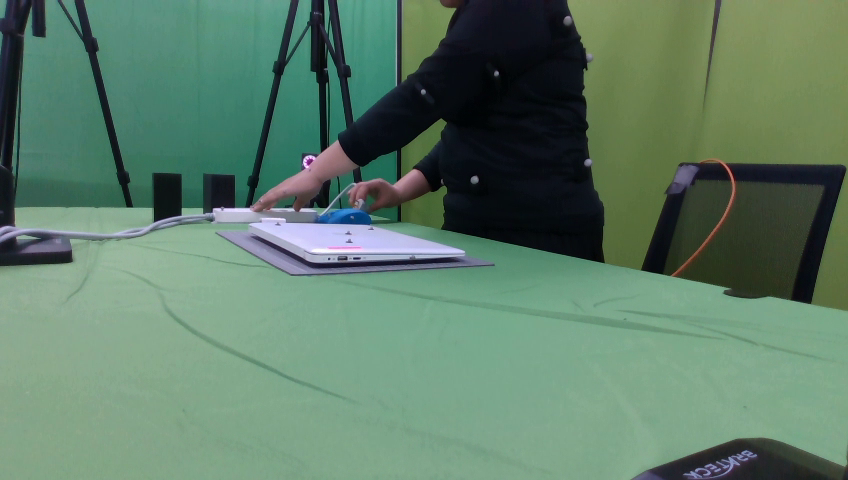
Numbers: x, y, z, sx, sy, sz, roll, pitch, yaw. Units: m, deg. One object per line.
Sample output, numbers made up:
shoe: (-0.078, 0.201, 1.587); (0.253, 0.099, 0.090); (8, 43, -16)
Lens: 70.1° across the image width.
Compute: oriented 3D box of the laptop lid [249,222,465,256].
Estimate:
laptop lid: (-0.121, -0.005, 0.955); (0.243, 0.013, 0.355); (1, 7, -28)

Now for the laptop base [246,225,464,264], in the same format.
laptop base: (-0.124, 0.006, 0.955); (0.237, 0.023, 0.352); (2, 6, -30)

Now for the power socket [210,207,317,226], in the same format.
power socket: (-0.335, -0.051, 1.282); (0.228, 0.032, 0.072); (-2, 11, -29)

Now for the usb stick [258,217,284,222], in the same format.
usb stick: (-0.291, -0.028, 1.118); (0.059, 0.027, 0.021); (-2, 11, -28)

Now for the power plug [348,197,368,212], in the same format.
power plug: (-0.160, -0.083, 1.400); (0.053, 0.035, 0.072); (24, 5, -38)

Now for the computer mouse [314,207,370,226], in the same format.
computer mouse: (-0.175, -0.047, 1.292); (0.118, 0.041, 0.062); (-8, 15, -33)
